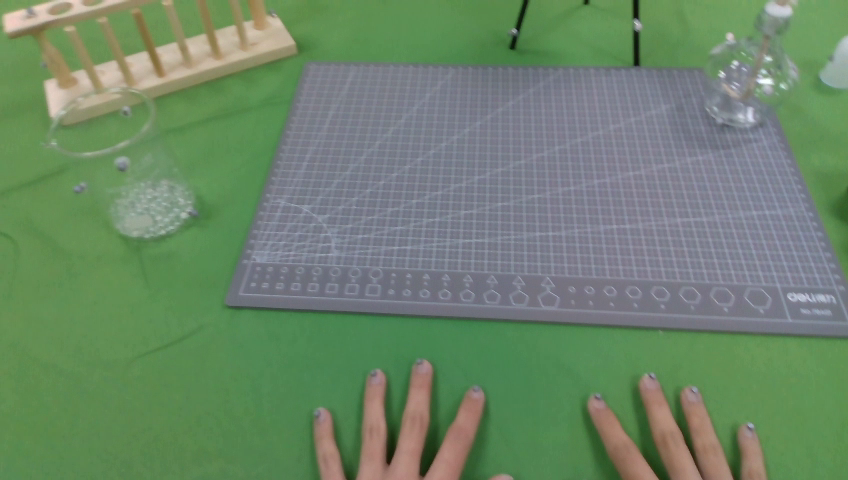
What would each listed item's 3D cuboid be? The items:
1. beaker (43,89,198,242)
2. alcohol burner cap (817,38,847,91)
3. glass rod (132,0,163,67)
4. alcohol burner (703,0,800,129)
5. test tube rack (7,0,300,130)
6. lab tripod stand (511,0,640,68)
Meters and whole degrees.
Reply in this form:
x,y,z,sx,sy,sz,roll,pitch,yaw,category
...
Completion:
x,y,z,sx,sy,sz,roll,pitch,yaw,category
-0.226,-0.052,0.467,0.084,0.101,0.073,-20,52,-12,beaker
0.399,-0.169,0.570,0.034,0.048,0.033,-1,50,2,alcohol burner cap
-0.269,-0.239,0.544,0.008,0.201,0.008,1,53,-2,glass rod
0.283,-0.154,0.513,0.078,0.120,0.077,-1,53,1,alcohol burner
-0.255,-0.197,0.595,0.243,0.086,0.066,-22,53,-15,test tube rack
0.163,-0.252,0.590,0.148,0.132,0.147,0,51,0,lab tripod stand
